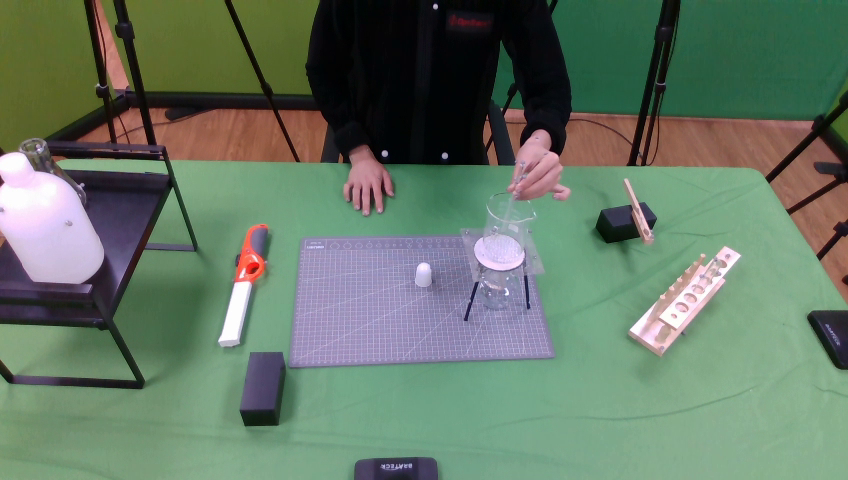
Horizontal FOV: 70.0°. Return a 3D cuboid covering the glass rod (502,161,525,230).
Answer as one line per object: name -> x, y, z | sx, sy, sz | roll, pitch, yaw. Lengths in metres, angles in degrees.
glass rod -> 0.138, -0.065, 0.942 | 0.008, 0.200, 0.008 | 1, 63, -1

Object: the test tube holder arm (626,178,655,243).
test tube holder arm -> 0.434, -0.062, 1.220 | 0.013, 0.015, 0.177 | 3, 47, -3

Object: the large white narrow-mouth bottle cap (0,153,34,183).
large white narrow-mouth bottle cap -> -0.510, -0.090, 0.754 | 0.038, 0.024, 0.037 | 2, 46, -2

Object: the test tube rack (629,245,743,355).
test tube rack -> 0.474, 0.095, 1.091 | 0.242, 0.085, 0.066 | -34, 56, -31

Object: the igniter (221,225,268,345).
igniter -> -0.323, 0.072, 1.100 | 0.057, 0.025, 0.274 | -6, 45, 5

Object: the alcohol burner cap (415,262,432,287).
alcohol burner cap -> 0.000, 0.061, 1.119 | 0.034, 0.048, 0.033 | 2, 45, -2

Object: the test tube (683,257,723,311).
test tube -> 0.475, 0.080, 1.037 | 0.017, 0.151, 0.017 | 1, 51, -1

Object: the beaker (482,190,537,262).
beaker -> 0.136, -0.019, 0.983 | 0.084, 0.101, 0.073 | 17, 47, 14

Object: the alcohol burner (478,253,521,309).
alcohol burner -> 0.134, 0.067, 1.072 | 0.078, 0.120, 0.077 | 0, 47, 0

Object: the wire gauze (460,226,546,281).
wire gauze -> 0.130, 0.017, 1.016 | 0.121, 0.011, 0.124 | -3, 43, -9

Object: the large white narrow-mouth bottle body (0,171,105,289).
large white narrow-mouth bottle body -> -0.513, -0.029, 0.818 | 0.102, 0.195, 0.101 | 2, 46, -2

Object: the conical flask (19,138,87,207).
conical flask -> -0.576, -0.097, 0.930 | 0.075, 0.122, 0.075 | 2, 46, -2

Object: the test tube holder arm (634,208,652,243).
test tube holder arm -> 0.428, -0.030, 1.189 | 0.010, 0.015, 0.087 | 3, 47, -3

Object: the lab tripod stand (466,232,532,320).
lab tripod stand -> 0.125, 0.060, 1.065 | 0.148, 0.132, 0.147 | 1, 45, 0
